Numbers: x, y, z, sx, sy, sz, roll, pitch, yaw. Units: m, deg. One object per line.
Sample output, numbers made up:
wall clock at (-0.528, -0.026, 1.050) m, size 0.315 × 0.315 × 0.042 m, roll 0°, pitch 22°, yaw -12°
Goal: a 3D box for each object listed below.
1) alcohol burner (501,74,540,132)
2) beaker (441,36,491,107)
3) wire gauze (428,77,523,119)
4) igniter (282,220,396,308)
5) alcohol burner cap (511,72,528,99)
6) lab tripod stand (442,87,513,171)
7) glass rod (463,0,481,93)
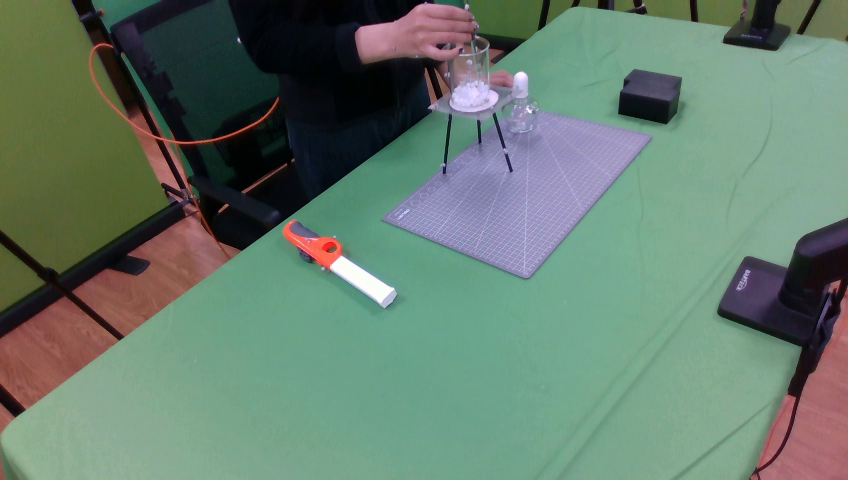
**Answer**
alcohol burner at (0.191, -0.275, 1.194) m, size 0.078 × 0.119 × 0.077 m, roll -4°, pitch 42°, yaw 4°
beaker at (0.074, -0.286, 1.036) m, size 0.084 × 0.101 × 0.073 m, roll -1°, pitch 41°, yaw 8°
wire gauze at (0.090, -0.249, 1.063) m, size 0.120 × 0.011 × 0.125 m, roll 24°, pitch 48°, yaw 30°
igniter at (-0.146, 0.032, 0.966) m, size 0.274 × 0.025 × 0.057 m, roll 30°, pitch 64°, yaw 37°
alcohol burner cap at (0.185, -0.302, 1.171) m, size 0.034 × 0.048 × 0.033 m, roll -2°, pitch 42°, yaw 2°
lab tripod stand at (0.097, -0.201, 1.108) m, size 0.148 × 0.132 × 0.147 m, roll -4°, pitch 40°, yaw 4°
glass rod at (0.075, -0.324, 0.967) m, size 0.008 × 0.201 × 0.008 m, roll -8°, pitch 42°, yaw 8°
